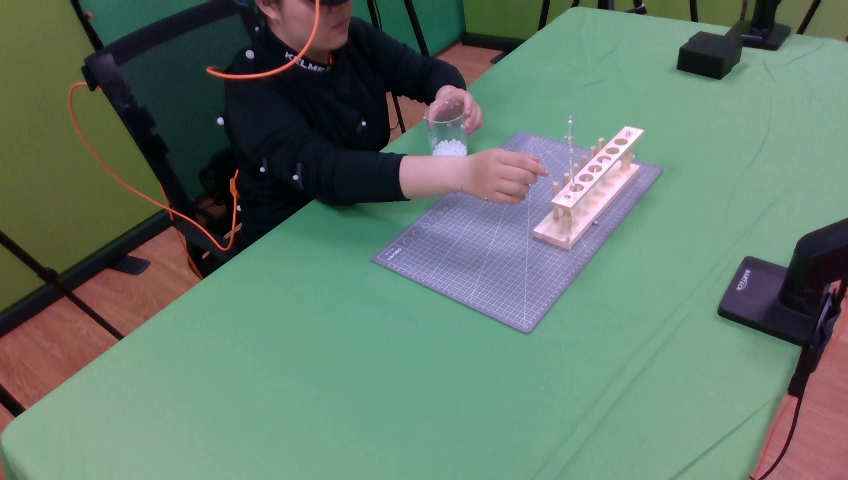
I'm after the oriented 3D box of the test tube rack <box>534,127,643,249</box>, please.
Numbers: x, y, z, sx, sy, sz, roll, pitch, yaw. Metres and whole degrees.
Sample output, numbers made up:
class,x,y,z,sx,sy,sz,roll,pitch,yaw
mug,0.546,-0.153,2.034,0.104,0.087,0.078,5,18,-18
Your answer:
class,x,y,z,sx,sy,sz,roll,pitch,yaw
test tube rack,0.272,-0.094,0.989,0.066,0.085,0.243,24,50,33

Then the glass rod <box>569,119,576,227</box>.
class,x,y,z,sx,sy,sz,roll,pitch,yaw
glass rod,0.219,-0.093,0.894,0.008,0.201,0.008,-8,43,8

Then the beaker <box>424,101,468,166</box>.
class,x,y,z,sx,sy,sz,roll,pitch,yaw
beaker,0.044,-0.195,1.113,0.073,0.101,0.084,9,44,19
